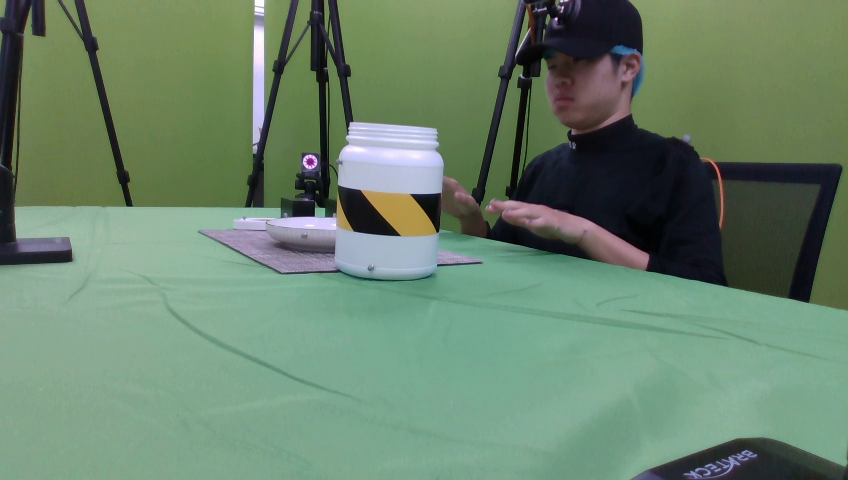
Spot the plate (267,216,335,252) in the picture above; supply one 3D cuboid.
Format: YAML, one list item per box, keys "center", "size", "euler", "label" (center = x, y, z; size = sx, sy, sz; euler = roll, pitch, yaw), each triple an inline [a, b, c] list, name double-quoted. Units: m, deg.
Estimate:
- center: [-0.144, -0.010, 0.967]
  size: [0.208, 0.039, 0.207]
  euler: [2, 7, 0]
  label: "plate"

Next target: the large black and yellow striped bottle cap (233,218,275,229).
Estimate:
- center: [-0.311, -0.032, 1.172]
  size: [0.115, 0.019, 0.115]
  euler: [1, 4, 0]
  label: "large black and yellow striped bottle cap"

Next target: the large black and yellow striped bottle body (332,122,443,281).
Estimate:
- center: [-0.045, -0.051, 0.755]
  size: [0.131, 0.184, 0.130]
  euler: [4, 10, 0]
  label: "large black and yellow striped bottle body"
